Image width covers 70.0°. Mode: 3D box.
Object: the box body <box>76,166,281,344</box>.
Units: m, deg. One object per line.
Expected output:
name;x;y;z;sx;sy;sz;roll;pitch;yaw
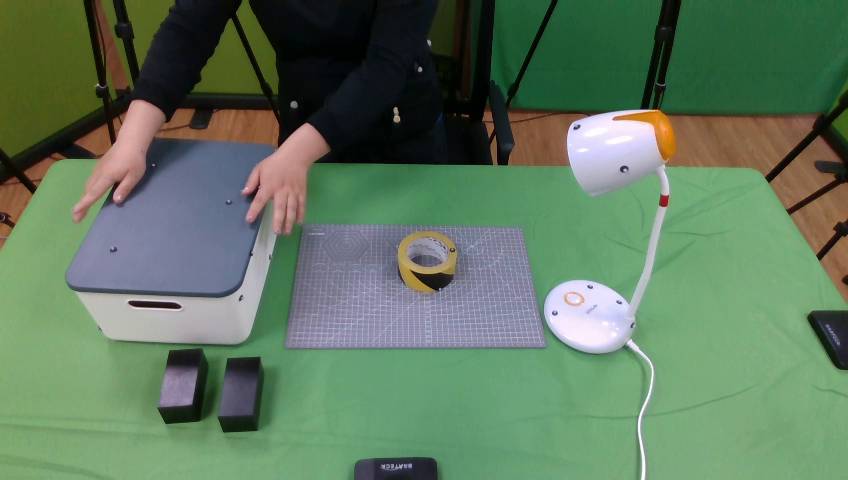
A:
box body;-0.407;-0.002;1.071;0.254;0.161;0.361;2;46;-2

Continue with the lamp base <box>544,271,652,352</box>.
lamp base;0.309;0.086;1.029;0.178;0.181;0.160;32;52;21

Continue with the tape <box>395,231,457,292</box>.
tape;0.004;0.039;1.136;0.117;0.053;0.116;2;46;-1

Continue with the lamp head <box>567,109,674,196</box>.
lamp head;0.272;-0.123;0.818;0.122;0.113;0.112;-9;35;37

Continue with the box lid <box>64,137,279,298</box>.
box lid;-0.403;-0.052;1.016;0.263;0.015;0.369;3;46;-2
